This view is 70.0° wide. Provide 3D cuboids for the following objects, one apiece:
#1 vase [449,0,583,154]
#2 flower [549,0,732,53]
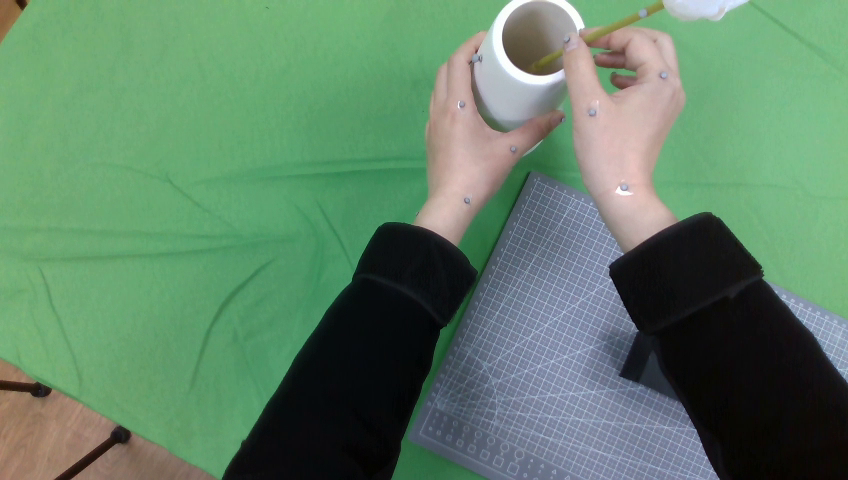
[{"bbox_3d":[0.078,-0.141,0.529,0.098,0.200,0.098,0,84,-3],"label":"vase"},{"bbox_3d":[0.098,-0.143,0.448,0.038,0.360,0.044,42,77,-16],"label":"flower"}]
